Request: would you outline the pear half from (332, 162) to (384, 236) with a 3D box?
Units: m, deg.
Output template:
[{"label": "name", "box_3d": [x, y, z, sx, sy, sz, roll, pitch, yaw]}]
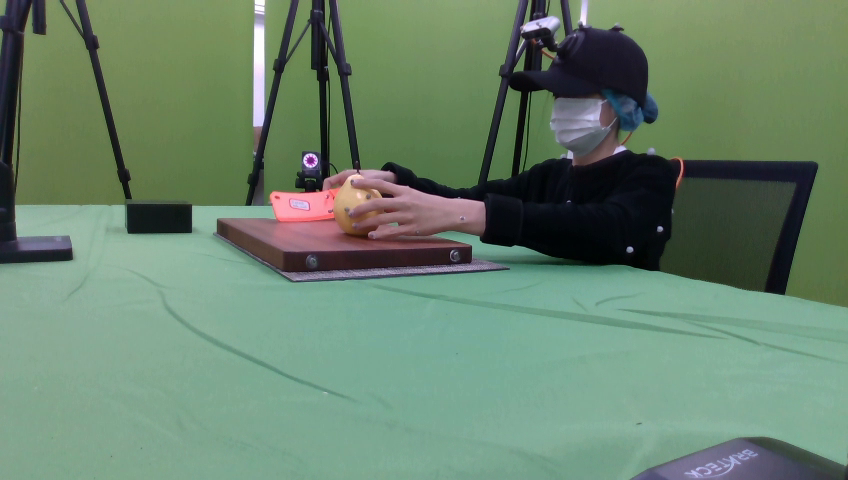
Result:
[{"label": "pear half", "box_3d": [-0.094, -0.060, 0.891, 0.077, 0.110, 0.055, -11, 14, -33]}]

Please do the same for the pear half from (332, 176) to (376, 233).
[{"label": "pear half", "box_3d": [-0.111, -0.054, 0.922, 0.071, 0.088, 0.031, -11, 13, -33]}]

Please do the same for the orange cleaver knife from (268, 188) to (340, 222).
[{"label": "orange cleaver knife", "box_3d": [-0.190, -0.067, 1.108, 0.212, 0.012, 0.077, -13, 59, -45]}]
